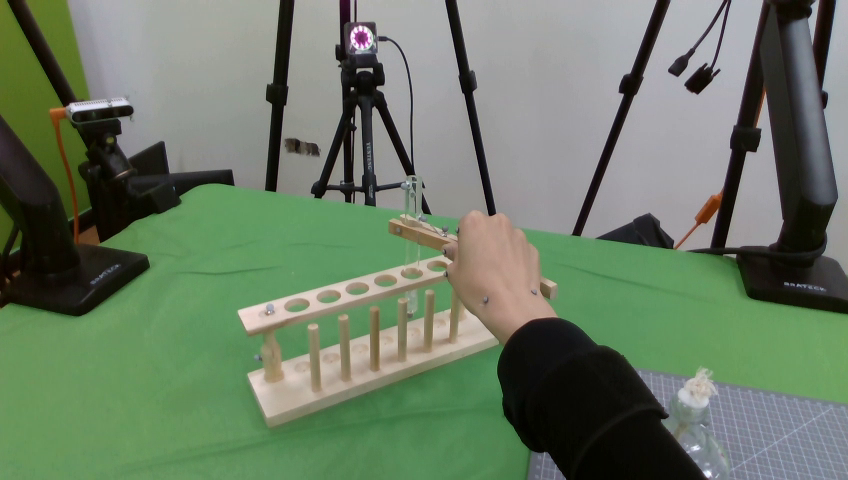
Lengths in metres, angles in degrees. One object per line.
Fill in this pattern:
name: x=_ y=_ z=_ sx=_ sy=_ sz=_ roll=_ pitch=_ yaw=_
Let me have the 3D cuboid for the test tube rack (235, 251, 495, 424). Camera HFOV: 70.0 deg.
test tube rack: x=-0.047 y=0.083 z=0.582 sx=0.243 sy=0.086 sz=0.066 roll=-14 pitch=33 yaw=-26

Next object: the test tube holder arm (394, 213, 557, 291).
test tube holder arm: x=0.039 y=0.008 z=0.535 sx=0.177 sy=0.015 sz=0.013 roll=22 pitch=41 yaw=35

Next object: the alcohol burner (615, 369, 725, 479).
alcohol burner: x=0.183 y=0.143 z=0.445 sx=0.078 sy=0.120 sz=0.077 roll=2 pitch=28 yaw=-1

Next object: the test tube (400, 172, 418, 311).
test tube: x=-0.015 y=0.006 z=0.581 sx=0.017 sy=0.151 sz=0.017 roll=1 pitch=30 yaw=0

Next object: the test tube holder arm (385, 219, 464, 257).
test tube holder arm: x=0.001 y=-0.003 z=0.556 sx=0.087 sy=0.015 sz=0.010 roll=16 pitch=38 yaw=30
